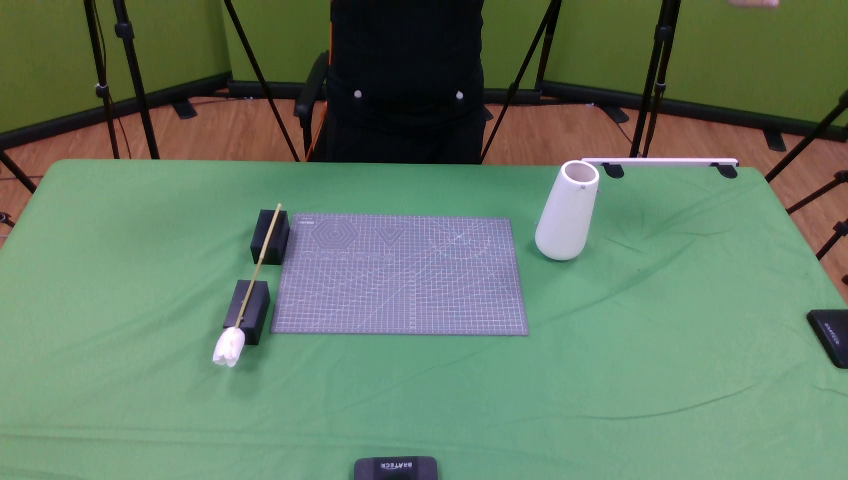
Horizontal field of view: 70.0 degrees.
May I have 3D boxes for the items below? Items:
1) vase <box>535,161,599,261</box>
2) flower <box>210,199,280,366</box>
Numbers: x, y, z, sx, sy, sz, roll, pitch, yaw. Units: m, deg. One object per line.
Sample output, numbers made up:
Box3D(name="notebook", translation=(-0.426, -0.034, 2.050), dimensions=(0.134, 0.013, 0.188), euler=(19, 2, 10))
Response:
Box3D(name="vase", translation=(0.270, -0.051, 1.145), dimensions=(0.098, 0.201, 0.097), euler=(1, 46, -1))
Box3D(name="flower", translation=(-0.298, 0.056, 1.054), dimensions=(0.044, 0.038, 0.359), euler=(-16, 44, 24))
